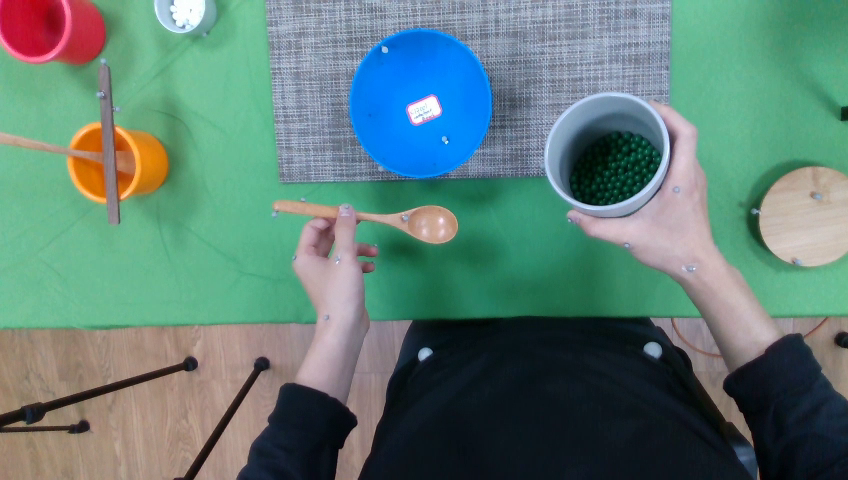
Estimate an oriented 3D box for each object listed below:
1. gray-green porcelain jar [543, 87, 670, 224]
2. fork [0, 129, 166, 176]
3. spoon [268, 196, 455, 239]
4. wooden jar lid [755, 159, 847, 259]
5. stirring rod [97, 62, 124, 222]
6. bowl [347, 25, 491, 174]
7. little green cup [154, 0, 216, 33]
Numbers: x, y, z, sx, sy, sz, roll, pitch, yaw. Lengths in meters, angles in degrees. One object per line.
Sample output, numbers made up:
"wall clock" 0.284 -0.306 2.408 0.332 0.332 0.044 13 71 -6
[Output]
"gray-green porcelain jar" 0.178 -0.073 0.579 0.105 0.127 0.105 -4 81 23
"fork" -0.402 -0.103 0.685 0.209 0.018 0.028 9 107 -38
"spoon" -0.064 -0.030 0.631 0.194 0.021 0.042 6 105 -12
"wooden jar lid" 0.417 -0.033 0.660 0.108 0.020 0.108 1 100 8
"stirring rod" -0.349 -0.107 0.675 0.014 0.006 0.176 0 100 8
"bowl" -0.001 -0.148 0.660 0.151 0.076 0.152 1 100 7
"little green cup" -0.273 -0.269 0.697 0.061 0.038 0.062 1 100 8
